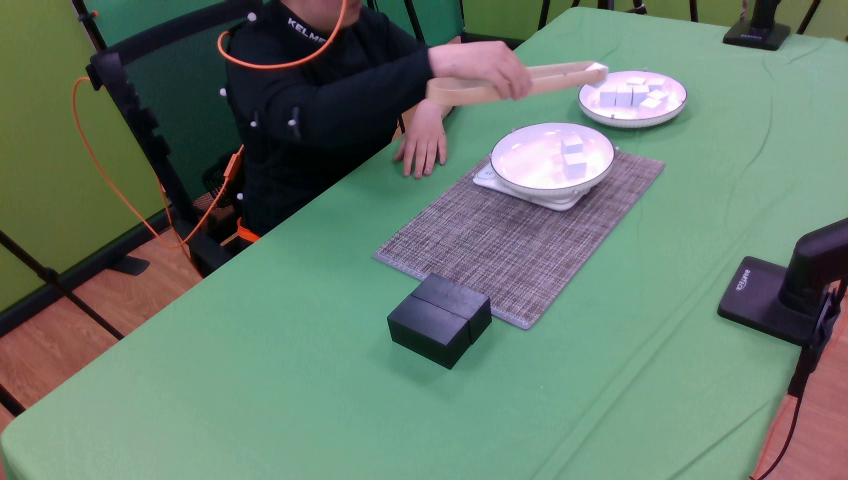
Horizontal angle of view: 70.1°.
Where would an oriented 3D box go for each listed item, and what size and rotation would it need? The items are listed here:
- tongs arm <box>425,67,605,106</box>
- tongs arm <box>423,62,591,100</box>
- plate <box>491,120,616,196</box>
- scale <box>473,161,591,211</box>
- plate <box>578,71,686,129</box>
[{"bbox_3d":[0.168,-0.266,1.020,0.387,0.026,0.050,-19,42,-35],"label":"tongs arm"},{"bbox_3d":[0.154,-0.278,1.036,0.390,0.028,0.028,-16,43,-32],"label":"tongs arm"},{"bbox_3d":[0.221,-0.137,1.038,0.207,0.039,0.206,-6,41,5],"label":"plate"},{"bbox_3d":[0.202,-0.121,1.074,0.199,0.032,0.149,23,49,33],"label":"scale"},{"bbox_3d":[0.416,-0.279,1.221,0.209,0.038,0.208,-5,41,5],"label":"plate"}]
